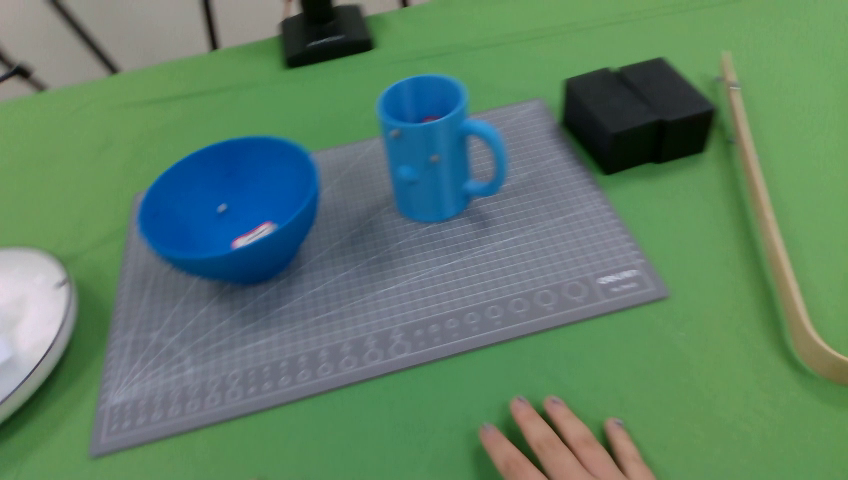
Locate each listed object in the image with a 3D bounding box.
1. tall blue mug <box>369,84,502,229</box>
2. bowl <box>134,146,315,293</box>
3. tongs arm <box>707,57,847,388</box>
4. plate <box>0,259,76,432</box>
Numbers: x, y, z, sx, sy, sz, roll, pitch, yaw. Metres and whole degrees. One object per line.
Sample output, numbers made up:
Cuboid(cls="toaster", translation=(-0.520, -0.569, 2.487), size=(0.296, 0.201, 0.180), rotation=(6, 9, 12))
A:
Cuboid(cls="tall blue mug", translation=(0.013, -0.075, 0.548), size=(0.107, 0.109, 0.077), rotation=(-7, 44, 4))
Cuboid(cls="bowl", translation=(-0.162, -0.006, 0.534), size=(0.151, 0.077, 0.150), rotation=(-5, 45, 5))
Cuboid(cls="tongs arm", translation=(0.298, -0.048, 0.527), size=(0.050, 0.027, 0.381), rotation=(7, 48, 8))
Cuboid(cls="plate", translation=(-0.389, 0.103, 0.499), size=(0.209, 0.038, 0.207), rotation=(-4, 45, 5))
